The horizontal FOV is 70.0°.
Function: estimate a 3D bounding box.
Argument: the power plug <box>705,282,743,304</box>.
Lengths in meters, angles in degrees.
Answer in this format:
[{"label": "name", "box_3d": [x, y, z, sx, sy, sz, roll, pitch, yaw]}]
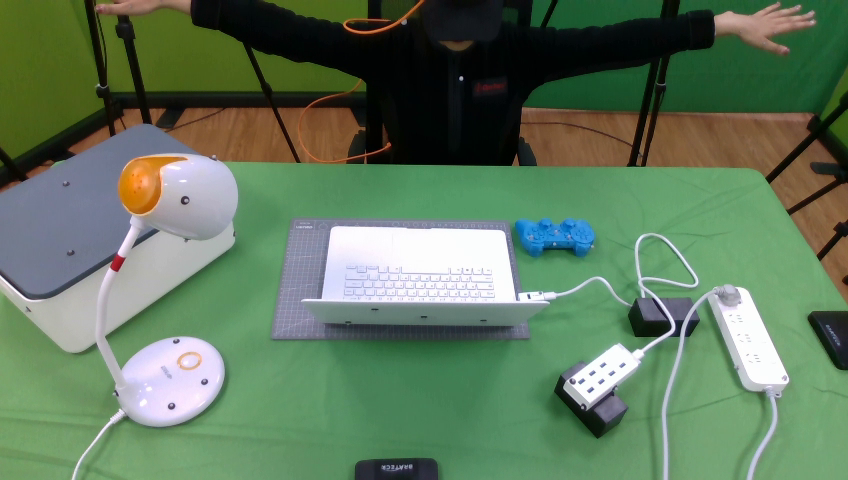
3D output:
[{"label": "power plug", "box_3d": [0.539, 0.097, 1.098, 0.072, 0.053, 0.035, 8, 47, 8]}]

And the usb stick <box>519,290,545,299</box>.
[{"label": "usb stick", "box_3d": [0.186, 0.108, 1.086, 0.059, 0.027, 0.021, -7, 47, 1]}]

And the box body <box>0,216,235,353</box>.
[{"label": "box body", "box_3d": [-0.550, -0.007, 1.068, 0.253, 0.161, 0.363, 30, 51, 23]}]

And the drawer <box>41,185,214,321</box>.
[{"label": "drawer", "box_3d": [-0.530, 0.018, 1.097, 0.194, 0.073, 0.211, 29, 53, 20]}]

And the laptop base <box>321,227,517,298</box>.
[{"label": "laptop base", "box_3d": [-0.009, 0.062, 1.137, 0.354, 0.023, 0.234, 1, 42, -3]}]

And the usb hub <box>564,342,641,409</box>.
[{"label": "usb hub", "box_3d": [0.278, 0.208, 0.942, 0.125, 0.025, 0.049, -27, 51, -28]}]

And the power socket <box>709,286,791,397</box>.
[{"label": "power socket", "box_3d": [0.567, 0.167, 1.064, 0.072, 0.033, 0.225, 2, 46, -1]}]

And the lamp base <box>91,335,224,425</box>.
[{"label": "lamp base", "box_3d": [-0.401, 0.170, 0.892, 0.160, 0.181, 0.179, 30, 53, 23]}]

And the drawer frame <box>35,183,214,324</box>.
[{"label": "drawer frame", "box_3d": [-0.531, 0.018, 1.092, 0.201, 0.083, 0.213, 29, 52, 21]}]

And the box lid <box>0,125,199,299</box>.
[{"label": "box lid", "box_3d": [-0.540, -0.068, 1.016, 0.262, 0.015, 0.371, 30, 51, 23]}]

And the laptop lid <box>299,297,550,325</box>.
[{"label": "laptop lid", "box_3d": [-0.002, 0.114, 0.943, 0.357, 0.242, 0.013, 1, 74, -4]}]

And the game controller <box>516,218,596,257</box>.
[{"label": "game controller", "box_3d": [0.267, -0.015, 1.212, 0.155, 0.052, 0.096, 0, 50, -3]}]

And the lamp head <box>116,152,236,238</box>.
[{"label": "lamp head", "box_3d": [-0.315, -0.057, 0.748, 0.112, 0.112, 0.123, 26, 10, 20]}]
